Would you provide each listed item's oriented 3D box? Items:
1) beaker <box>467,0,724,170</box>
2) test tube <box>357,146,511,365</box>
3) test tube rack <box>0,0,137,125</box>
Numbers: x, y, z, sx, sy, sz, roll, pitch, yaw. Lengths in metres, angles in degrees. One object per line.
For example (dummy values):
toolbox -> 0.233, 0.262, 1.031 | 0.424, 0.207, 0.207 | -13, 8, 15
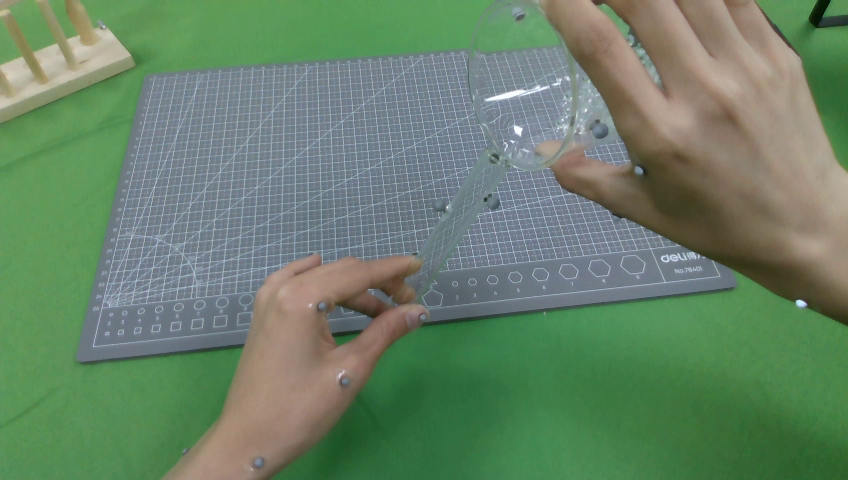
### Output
beaker -> 0.081, -0.080, 0.286 | 0.100, 0.084, 0.073 | -20, 58, -24
test tube -> 0.001, 0.014, 0.328 | 0.017, 0.150, 0.017 | 26, 26, -13
test tube rack -> -0.390, -0.151, 0.519 | 0.242, 0.086, 0.066 | -33, 59, -22
